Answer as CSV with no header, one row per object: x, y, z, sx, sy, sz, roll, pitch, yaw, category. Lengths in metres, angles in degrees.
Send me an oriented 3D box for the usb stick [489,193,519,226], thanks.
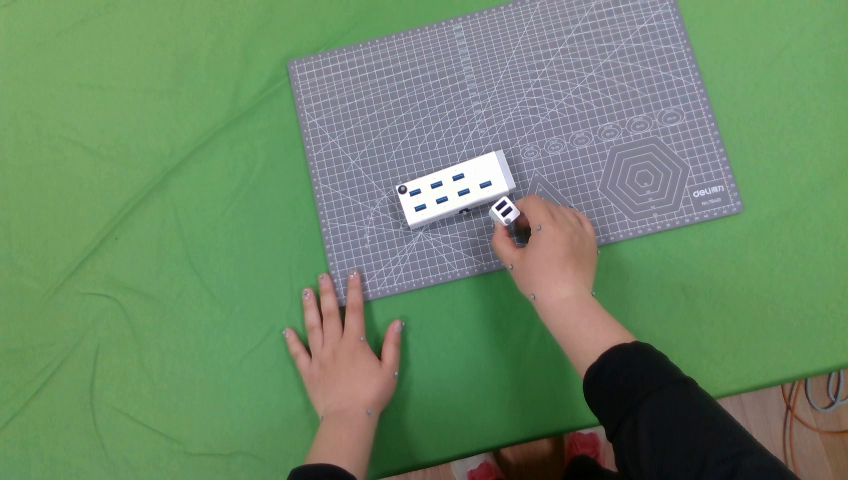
0.084,-0.031,0.638,0.021,0.059,0.027,-44,81,3,usb stick

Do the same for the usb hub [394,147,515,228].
0.033,-0.058,0.665,0.125,0.025,0.049,-20,79,2,usb hub
